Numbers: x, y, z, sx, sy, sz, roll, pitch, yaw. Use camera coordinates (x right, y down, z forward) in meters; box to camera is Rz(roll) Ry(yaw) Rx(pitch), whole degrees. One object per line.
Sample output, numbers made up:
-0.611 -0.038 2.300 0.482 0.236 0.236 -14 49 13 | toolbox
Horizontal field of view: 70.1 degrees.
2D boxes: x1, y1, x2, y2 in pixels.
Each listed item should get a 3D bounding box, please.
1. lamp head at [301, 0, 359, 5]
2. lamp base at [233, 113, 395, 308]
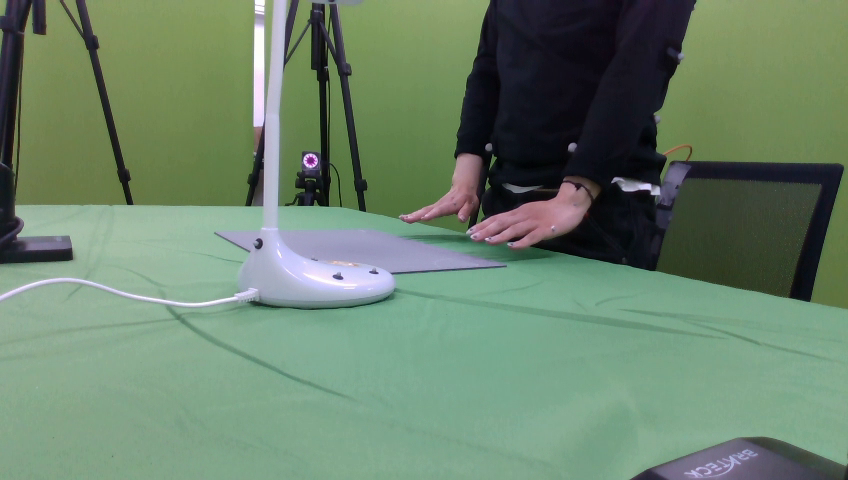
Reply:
-0.095 -0.314 0.610 0.112 0.123 0.112 -4 50 5 | lamp head
-0.113 -0.033 0.600 0.160 0.180 0.180 6 11 28 | lamp base
